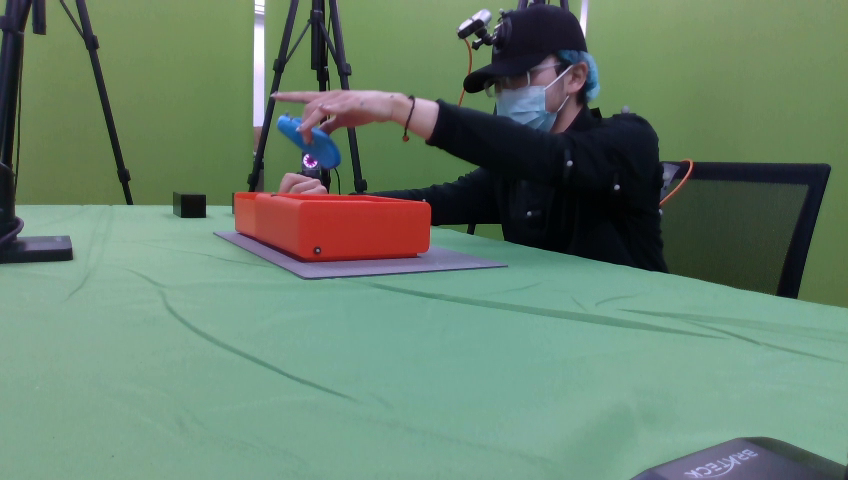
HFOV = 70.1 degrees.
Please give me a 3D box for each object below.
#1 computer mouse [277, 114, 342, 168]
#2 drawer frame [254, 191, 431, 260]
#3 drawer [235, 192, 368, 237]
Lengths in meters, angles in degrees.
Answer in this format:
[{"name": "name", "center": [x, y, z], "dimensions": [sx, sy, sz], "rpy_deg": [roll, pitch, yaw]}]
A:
[{"name": "computer mouse", "center": [-0.179, -0.162, 0.964], "dimensions": [0.117, 0.041, 0.062], "rpy_deg": [37, 13, -11]}, {"name": "drawer frame", "center": [-0.129, -0.028, 0.912], "dimensions": [0.203, 0.082, 0.212], "rpy_deg": [-1, 8, -31]}, {"name": "drawer", "center": [-0.195, -0.041, 1.020], "dimensions": [0.195, 0.073, 0.210], "rpy_deg": [-1, 6, -32]}]
